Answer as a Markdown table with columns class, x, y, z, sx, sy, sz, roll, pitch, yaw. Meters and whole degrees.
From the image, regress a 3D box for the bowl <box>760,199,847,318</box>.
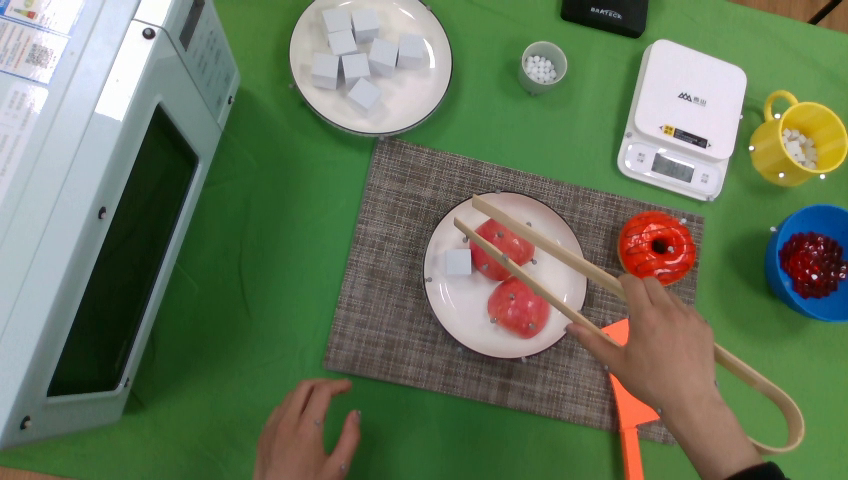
| class | x | y | z | sx | sy | sz | roll | pitch | yaw |
| --- | --- | --- | --- | --- | --- | --- | --- | --- | --- |
| bowl | 0.497 | 0.029 | 0.788 | 0.152 | 0.077 | 0.151 | 1 | 80 | -7 |

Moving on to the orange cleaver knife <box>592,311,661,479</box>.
| class | x | y | z | sx | sy | sz | roll | pitch | yaw |
| --- | --- | --- | --- | --- | --- | --- | --- | --- | --- |
| orange cleaver knife | 0.258 | 0.195 | 0.753 | 0.077 | 0.012 | 0.210 | -4 | 79 | -14 |

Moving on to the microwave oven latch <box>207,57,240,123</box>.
| class | x | y | z | sx | sy | sz | roll | pitch | yaw |
| --- | --- | --- | --- | --- | --- | --- | --- | --- | --- |
| microwave oven latch | -0.247 | -0.184 | 0.731 | 0.030 | 0.029 | 0.079 | 18 | 79 | -4 |

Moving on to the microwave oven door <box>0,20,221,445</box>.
| class | x | y | z | sx | sy | sz | roll | pitch | yaw |
| --- | --- | --- | --- | --- | --- | --- | --- | --- | --- |
| microwave oven door | -0.294 | 0.003 | 0.587 | 0.039 | 0.244 | 0.354 | 16 | 78 | -4 |

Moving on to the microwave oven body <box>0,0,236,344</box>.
| class | x | y | z | sx | sy | sz | roll | pitch | yaw |
| --- | --- | --- | --- | --- | --- | --- | --- | --- | --- |
| microwave oven body | -0.423 | -0.076 | 0.590 | 0.326 | 0.260 | 0.440 | 16 | 79 | -4 |

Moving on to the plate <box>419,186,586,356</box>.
| class | x | y | z | sx | sy | sz | roll | pitch | yaw |
| --- | --- | --- | --- | --- | --- | --- | --- | --- | --- |
| plate | 0.096 | 0.038 | 0.751 | 0.209 | 0.038 | 0.208 | 1 | 79 | -7 |

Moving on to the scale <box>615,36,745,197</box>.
| class | x | y | z | sx | sy | sz | roll | pitch | yaw |
| --- | --- | --- | --- | --- | --- | --- | --- | --- | --- |
| scale | 0.351 | -0.169 | 0.828 | 0.149 | 0.031 | 0.200 | 18 | 78 | -3 |

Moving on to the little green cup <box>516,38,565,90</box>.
| class | x | y | z | sx | sy | sz | roll | pitch | yaw |
| --- | --- | --- | --- | --- | --- | --- | --- | --- | --- |
| little green cup | 0.153 | -0.233 | 0.811 | 0.061 | 0.039 | 0.061 | 1 | 79 | -7 |

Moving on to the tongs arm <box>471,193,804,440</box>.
| class | x | y | z | sx | sy | sz | roll | pitch | yaw |
| --- | --- | --- | --- | --- | --- | --- | --- | --- | --- |
| tongs arm | 0.199 | 0.063 | 0.612 | 0.385 | 0.028 | 0.028 | 36 | 64 | 18 |

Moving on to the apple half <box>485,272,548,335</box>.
| class | x | y | z | sx | sy | sz | roll | pitch | yaw |
| --- | --- | --- | --- | --- | --- | --- | --- | --- | --- |
| apple half | 0.117 | 0.074 | 0.740 | 0.081 | 0.033 | 0.081 | 0 | 81 | -2 |

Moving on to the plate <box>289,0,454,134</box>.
| class | x | y | z | sx | sy | sz | roll | pitch | yaw |
| --- | --- | --- | --- | --- | --- | --- | --- | --- | --- |
| plate | -0.066 | -0.232 | 0.783 | 0.208 | 0.039 | 0.206 | 1 | 79 | -7 |

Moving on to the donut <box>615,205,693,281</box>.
| class | x | y | z | sx | sy | sz | roll | pitch | yaw |
| --- | --- | --- | --- | --- | --- | --- | --- | --- | --- |
| donut | 0.294 | 0.004 | 0.779 | 0.099 | 0.048 | 0.098 | 1 | 80 | -5 |

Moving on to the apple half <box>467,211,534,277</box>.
| class | x | y | z | sx | sy | sz | roll | pitch | yaw |
| --- | --- | --- | --- | --- | --- | --- | --- | --- | --- |
| apple half | 0.095 | 0.000 | 0.742 | 0.081 | 0.053 | 0.074 | -30 | 81 | -12 |

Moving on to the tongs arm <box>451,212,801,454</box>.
| class | x | y | z | sx | sy | sz | roll | pitch | yaw |
| --- | --- | --- | --- | --- | --- | --- | --- | --- | --- |
| tongs arm | 0.184 | 0.079 | 0.604 | 0.382 | 0.027 | 0.050 | 41 | 69 | 19 |

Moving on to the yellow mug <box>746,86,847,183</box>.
| class | x | y | z | sx | sy | sz | roll | pitch | yaw |
| --- | --- | --- | --- | --- | --- | --- | --- | --- | --- |
| yellow mug | 0.500 | -0.149 | 0.826 | 0.100 | 0.064 | 0.130 | -19 | 82 | -10 |
